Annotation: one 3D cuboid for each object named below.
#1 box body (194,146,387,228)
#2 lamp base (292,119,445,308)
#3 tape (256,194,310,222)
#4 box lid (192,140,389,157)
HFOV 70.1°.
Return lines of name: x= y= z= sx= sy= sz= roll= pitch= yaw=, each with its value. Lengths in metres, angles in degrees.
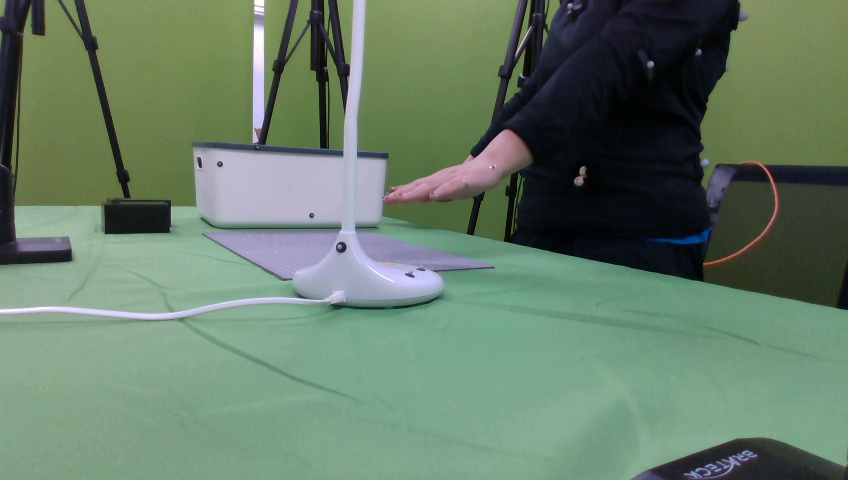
box body: x=-0.288 y=-0.118 z=1.291 sx=0.366 sy=0.160 sz=0.253 roll=-1 pitch=8 yaw=-28
lamp base: x=-0.056 y=-0.030 z=0.616 sx=0.160 sy=0.180 sz=0.179 roll=3 pitch=10 yaw=8
tape: x=-0.301 y=-0.069 z=1.294 sx=0.117 sy=0.052 sz=0.117 roll=2 pitch=7 yaw=0
box lid: x=-0.287 y=-0.190 z=1.281 sx=0.373 sy=0.015 sz=0.262 roll=0 pitch=8 yaw=-28
